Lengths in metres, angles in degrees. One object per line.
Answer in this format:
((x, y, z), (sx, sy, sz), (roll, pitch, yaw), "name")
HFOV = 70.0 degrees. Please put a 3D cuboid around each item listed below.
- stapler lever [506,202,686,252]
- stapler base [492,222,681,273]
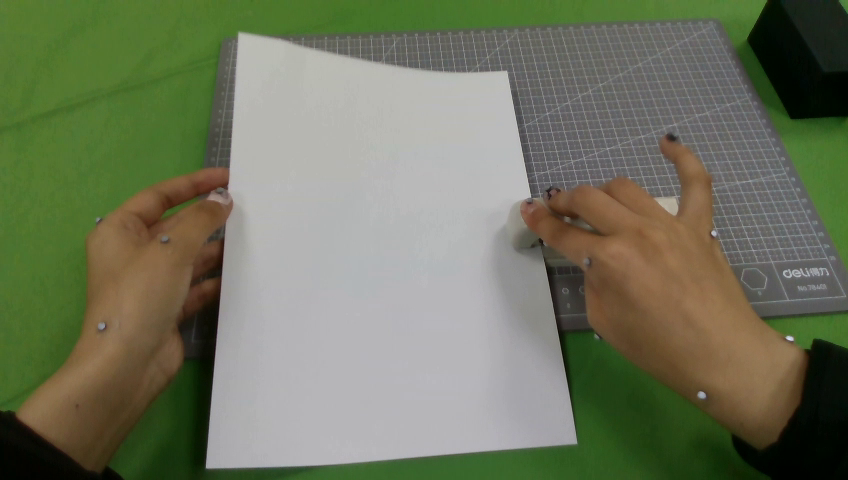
((0.114, -0.010, 0.406), (0.118, 0.040, 0.026), (-6, 60, 6), "stapler lever")
((0.114, -0.001, 0.418), (0.131, 0.024, 0.041), (-1, 61, -3), "stapler base")
